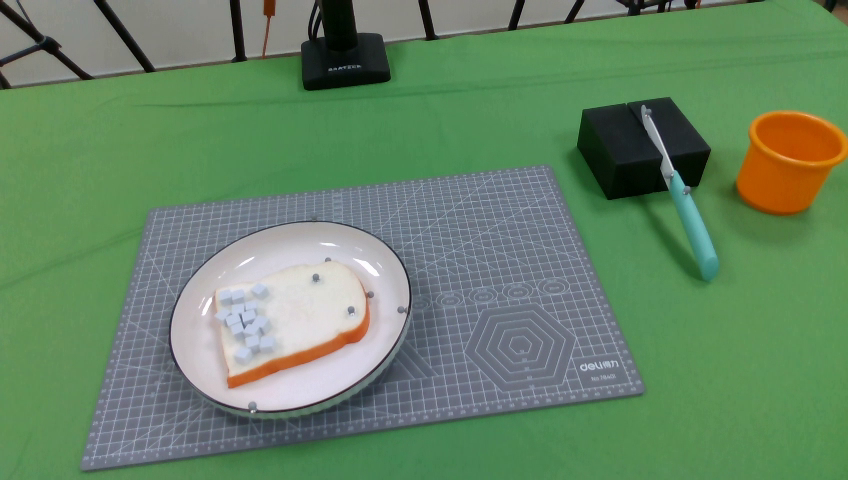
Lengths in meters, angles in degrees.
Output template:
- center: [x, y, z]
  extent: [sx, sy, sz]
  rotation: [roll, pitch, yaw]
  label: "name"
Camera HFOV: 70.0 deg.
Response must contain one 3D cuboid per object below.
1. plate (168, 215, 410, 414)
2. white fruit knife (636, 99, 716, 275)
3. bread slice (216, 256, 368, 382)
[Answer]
- center: [-0.115, 0.062, 0.537]
  extent: [0.209, 0.038, 0.207]
  rotation: [-1, 47, 2]
  label: "plate"
- center: [0.248, -0.063, 0.609]
  extent: [0.016, 0.027, 0.205]
  rotation: [-8, 62, -5]
  label: "white fruit knife"
- center: [-0.118, 0.060, 0.543]
  extent: [0.132, 0.019, 0.103]
  rotation: [-19, 49, -12]
  label: "bread slice"
